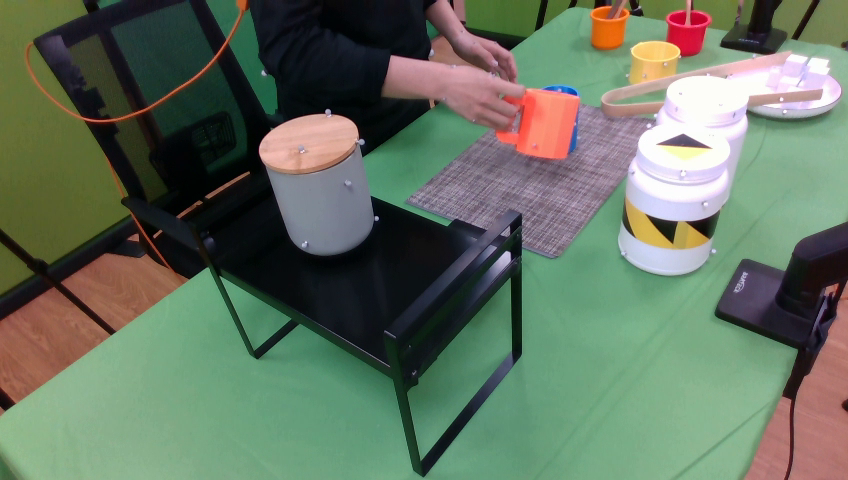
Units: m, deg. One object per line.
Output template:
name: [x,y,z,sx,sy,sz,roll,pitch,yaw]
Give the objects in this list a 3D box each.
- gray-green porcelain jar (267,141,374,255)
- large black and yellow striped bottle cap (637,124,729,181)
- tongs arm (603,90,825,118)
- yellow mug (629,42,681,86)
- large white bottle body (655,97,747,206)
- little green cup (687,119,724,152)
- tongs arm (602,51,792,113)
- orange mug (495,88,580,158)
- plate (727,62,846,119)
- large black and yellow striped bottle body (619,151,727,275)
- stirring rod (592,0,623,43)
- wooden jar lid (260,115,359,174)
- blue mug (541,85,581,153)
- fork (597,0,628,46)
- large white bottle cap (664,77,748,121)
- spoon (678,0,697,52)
gray-green porcelain jar: [-0.117,-0.054,0.703,0.106,0.127,0.105,-4,40,4]
large black and yellow striped bottle cap: [0.346,-0.119,0.810,0.115,0.019,0.114,-5,41,5]
tongs arm: [0.546,-0.262,1.163,0.386,0.028,0.028,-1,49,18]
yellow mug: [0.495,-0.389,1.321,0.100,0.064,0.130,-14,40,-7]
large white bottle body: [0.430,-0.148,0.959,0.130,0.185,0.130,-4,41,4]
little green cup: [0.514,-0.191,1.109,0.061,0.039,0.061,-5,40,5]
tongs arm: [0.552,-0.320,1.224,0.384,0.027,0.050,-10,43,7]
orange mug: [0.180,-0.192,0.971,0.126,0.101,0.083,11,19,-7]
plate: [0.710,-0.292,1.197,0.207,0.039,0.206,-4,40,4]
large black and yellow striped bottle body: [0.354,-0.056,0.865,0.131,0.185,0.130,-4,41,4]
stirring rod: [0.460,-0.557,1.461,0.014,0.176,0.006,35,11,22]
wooden jar lid: [-0.124,-0.101,0.662,0.108,0.021,0.108,-4,41,4]
blue mug: [0.233,-0.218,1.127,0.117,0.106,0.081,-23,43,-16]
fork: [0.479,-0.558,1.455,0.028,0.019,0.207,35,100,38]
large white bottle cap: [0.421,-0.212,0.905,0.115,0.018,0.114,-4,40,4]
spoon: [0.614,-0.526,1.402,0.041,0.022,0.193,3,86,11]
